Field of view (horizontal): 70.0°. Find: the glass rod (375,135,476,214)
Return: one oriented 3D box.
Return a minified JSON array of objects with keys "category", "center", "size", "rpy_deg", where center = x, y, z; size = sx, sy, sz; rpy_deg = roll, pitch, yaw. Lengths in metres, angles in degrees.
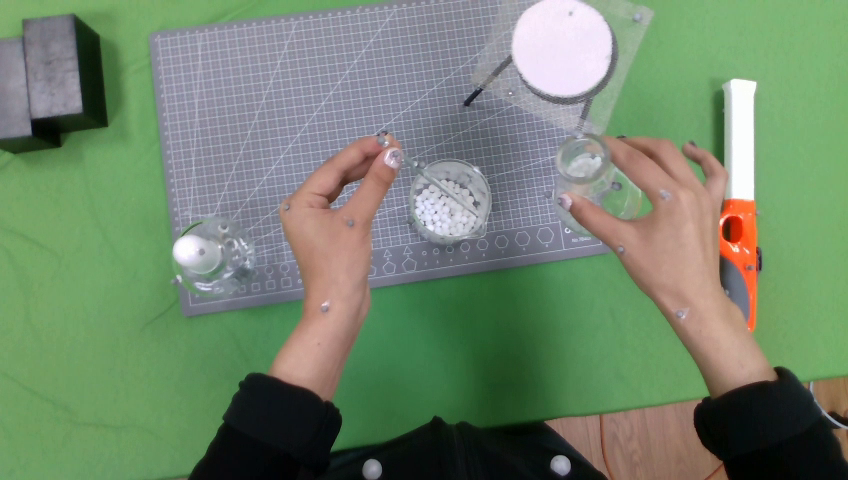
[{"category":"glass rod","center":[0.009,-0.050,0.514],"size":[0.008,0.201,0.008],"rpy_deg":[-6,75,23]}]

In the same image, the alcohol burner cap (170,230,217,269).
[{"category":"alcohol burner cap","center":[-0.205,0.006,0.534],"size":[0.034,0.048,0.033],"rpy_deg":[1,79,-3]}]

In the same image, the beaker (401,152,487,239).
[{"category":"beaker","center":[0.020,-0.036,0.588],"size":[0.074,0.100,0.084],"rpy_deg":[-44,89,-4]}]

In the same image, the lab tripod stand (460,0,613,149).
[{"category":"lab tripod stand","center":[0.113,-0.160,0.582],"size":[0.148,0.131,0.148],"rpy_deg":[0,88,-1]}]

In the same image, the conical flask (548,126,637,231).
[{"category":"conical flask","center":[0.130,-0.053,0.484],"size":[0.075,0.122,0.075],"rpy_deg":[-3,80,19]}]

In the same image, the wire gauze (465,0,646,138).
[{"category":"wire gauze","center":[0.112,-0.166,0.515],"size":[0.125,0.011,0.121],"rpy_deg":[24,88,0]}]

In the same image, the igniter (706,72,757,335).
[{"category":"igniter","center":[0.324,-0.039,0.638],"size":[0.057,0.025,0.276],"rpy_deg":[3,87,-12]}]

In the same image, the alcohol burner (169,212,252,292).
[{"category":"alcohol burner","center":[-0.206,0.011,0.569],"size":[0.078,0.119,0.078],"rpy_deg":[0,87,-1]}]
